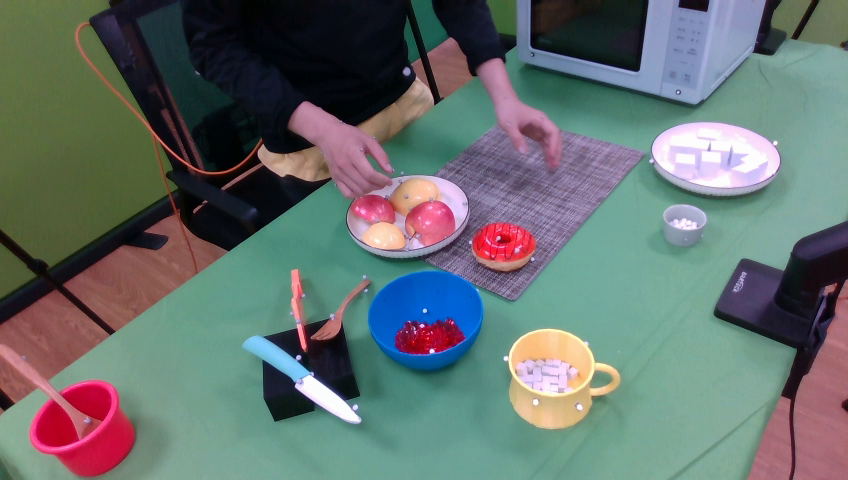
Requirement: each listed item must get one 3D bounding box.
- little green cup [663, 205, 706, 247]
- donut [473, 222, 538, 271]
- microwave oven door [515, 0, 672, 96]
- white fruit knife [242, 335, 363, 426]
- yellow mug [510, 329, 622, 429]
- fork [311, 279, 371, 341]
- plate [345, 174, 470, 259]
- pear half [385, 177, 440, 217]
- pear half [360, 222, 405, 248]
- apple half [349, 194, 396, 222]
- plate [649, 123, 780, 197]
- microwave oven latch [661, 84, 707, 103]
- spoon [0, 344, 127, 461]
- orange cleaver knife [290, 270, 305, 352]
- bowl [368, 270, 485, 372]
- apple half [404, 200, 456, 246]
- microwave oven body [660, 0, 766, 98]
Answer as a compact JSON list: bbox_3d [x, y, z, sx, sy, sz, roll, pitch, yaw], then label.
[{"bbox_3d":[0.396,-0.021,0.926,0.061,0.039,0.061,-4,40,4],"label":"little green cup"},{"bbox_3d":[0.123,0.009,0.923,0.099,0.048,0.098,-3,38,3],"label":"donut"},{"bbox_3d":[0.343,-0.455,1.259,0.353,0.245,0.039,26,51,33],"label":"microwave oven door"},{"bbox_3d":[-0.148,0.166,0.730,0.206,0.016,0.027,26,80,31],"label":"white fruit knife"},{"bbox_3d":[0.168,0.164,0.721,0.130,0.064,0.099,0,40,8],"label":"yellow mug"},{"bbox_3d":[-0.108,0.092,0.832,0.028,0.018,0.207,-5,19,14],"label":"fork"},{"bbox_3d":[-0.026,-0.037,1.003,0.209,0.038,0.208,-4,41,4],"label":"plate"},{"bbox_3d":[-0.030,-0.079,1.033,0.109,0.056,0.076,-1,36,15],"label":"pear half"},{"bbox_3d":[-0.064,-0.012,0.960,0.071,0.031,0.087,5,21,-25],"label":"pear half"},{"bbox_3d":[-0.081,-0.058,1.008,0.081,0.033,0.081,11,21,-4],"label":"apple half"},{"bbox_3d":[0.497,-0.135,1.046,0.207,0.039,0.206,-4,40,4],"label":"plate"},{"bbox_3d":[0.517,-0.296,1.204,0.078,0.029,0.030,27,52,35],"label":"microwave oven latch"},{"bbox_3d":[-0.433,0.191,0.721,0.194,0.021,0.042,47,53,-6],"label":"spoon"},{"bbox_3d":[-0.175,0.094,0.844,0.012,0.077,0.210,-11,14,-10],"label":"orange cleaver knife"},{"bbox_3d":[0.007,0.118,0.791,0.151,0.077,0.150,-5,40,4],"label":"bowl"},{"bbox_3d":[0.009,-0.035,0.969,0.075,0.053,0.080,-27,40,-22],"label":"apple half"},{"bbox_3d":[0.472,-0.513,1.317,0.438,0.261,0.327,26,51,34],"label":"microwave oven body"}]
